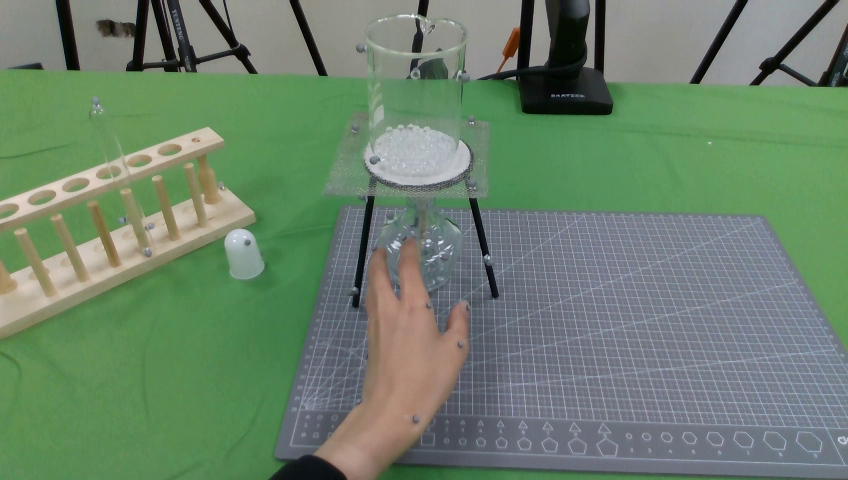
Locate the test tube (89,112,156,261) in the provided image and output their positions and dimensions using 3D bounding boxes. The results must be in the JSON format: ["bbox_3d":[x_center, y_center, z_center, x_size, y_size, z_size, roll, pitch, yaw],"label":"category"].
[{"bbox_3d":[-0.264,-0.043,0.533,0.017,0.151,0.017,1,39,0],"label":"test tube"}]

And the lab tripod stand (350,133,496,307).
[{"bbox_3d":[-0.002,-0.014,0.527,0.148,0.132,0.147,2,39,-1],"label":"lab tripod stand"}]

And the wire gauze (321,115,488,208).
[{"bbox_3d":[-0.010,-0.064,0.483,0.121,0.011,0.124,3,42,3],"label":"wire gauze"}]

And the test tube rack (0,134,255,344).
[{"bbox_3d":[-0.288,-0.010,0.563,0.242,0.086,0.066,-29,48,-31],"label":"test tube rack"}]

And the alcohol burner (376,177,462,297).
[{"bbox_3d":[-0.004,-0.007,0.534,0.078,0.120,0.077,1,41,-1],"label":"alcohol burner"}]

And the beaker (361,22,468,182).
[{"bbox_3d":[-0.007,-0.102,0.454,0.074,0.101,0.083,9,40,8],"label":"beaker"}]

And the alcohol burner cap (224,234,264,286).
[{"bbox_3d":[-0.170,0.016,0.568,0.034,0.048,0.033,1,40,0],"label":"alcohol burner cap"}]
